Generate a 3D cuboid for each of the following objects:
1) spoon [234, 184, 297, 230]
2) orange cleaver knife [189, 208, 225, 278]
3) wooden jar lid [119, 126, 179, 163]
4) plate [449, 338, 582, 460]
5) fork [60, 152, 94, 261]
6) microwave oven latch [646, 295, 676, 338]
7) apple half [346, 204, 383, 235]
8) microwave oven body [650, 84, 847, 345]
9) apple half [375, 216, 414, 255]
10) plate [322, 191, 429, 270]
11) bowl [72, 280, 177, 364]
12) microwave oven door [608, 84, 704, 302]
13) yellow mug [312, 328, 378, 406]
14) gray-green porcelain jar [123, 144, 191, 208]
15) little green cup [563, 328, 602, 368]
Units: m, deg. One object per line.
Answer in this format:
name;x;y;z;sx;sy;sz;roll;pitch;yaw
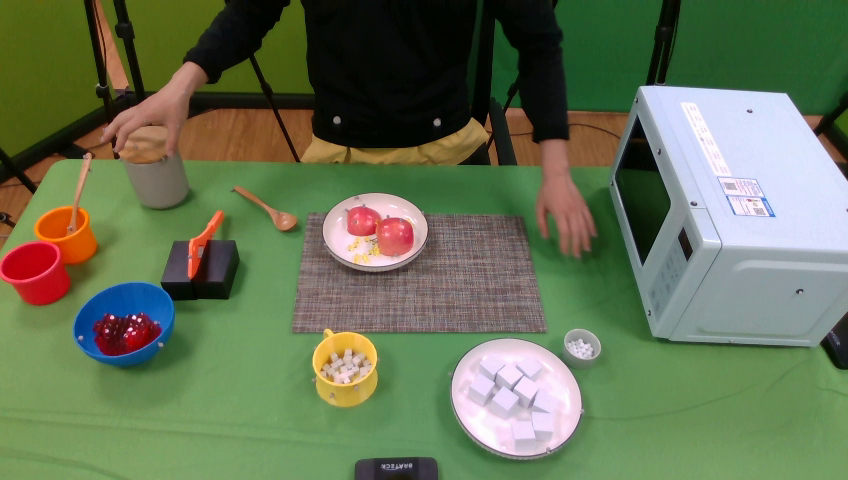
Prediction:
spoon;-0.327;-0.073;1.239;0.193;0.022;0.041;34;73;25
orange cleaver knife;-0.401;0.002;1.122;0.012;0.077;0.210;5;23;-5
wooden jar lid;-0.528;-0.181;1.167;0.108;0.021;0.107;4;48;-4
plate;0.141;0.251;0.956;0.208;0.039;0.206;2;46;-2
fork;-0.638;-0.063;1.119;0.028;0.018;0.207;12;90;7
microwave oven latch;0.413;0.133;1.060;0.030;0.029;0.078;4;46;1
apple half;-0.119;-0.049;1.207;0.081;0.033;0.081;2;50;-2
microwave oven body;0.569;-0.054;1.116;0.326;0.261;0.439;2;46;-1
apple half;-0.056;-0.017;1.169;0.075;0.053;0.080;0;45;-7
plate;-0.094;-0.015;1.185;0.209;0.038;0.208;2;46;-2
bowl;-0.472;0.147;0.982;0.151;0.077;0.150;2;46;-2
microwave oven door;0.424;-0.096;1.138;0.039;0.245;0.353;2;47;-1
yellow mug;-0.132;0.193;0.971;0.100;0.064;0.130;-22;51;-22
gray-green porcelain jar;-0.531;-0.137;1.213;0.106;0.127;0.105;2;46;-2
little green cup;0.265;0.184;1.025;0.061;0.039;0.061;1;46;-1
